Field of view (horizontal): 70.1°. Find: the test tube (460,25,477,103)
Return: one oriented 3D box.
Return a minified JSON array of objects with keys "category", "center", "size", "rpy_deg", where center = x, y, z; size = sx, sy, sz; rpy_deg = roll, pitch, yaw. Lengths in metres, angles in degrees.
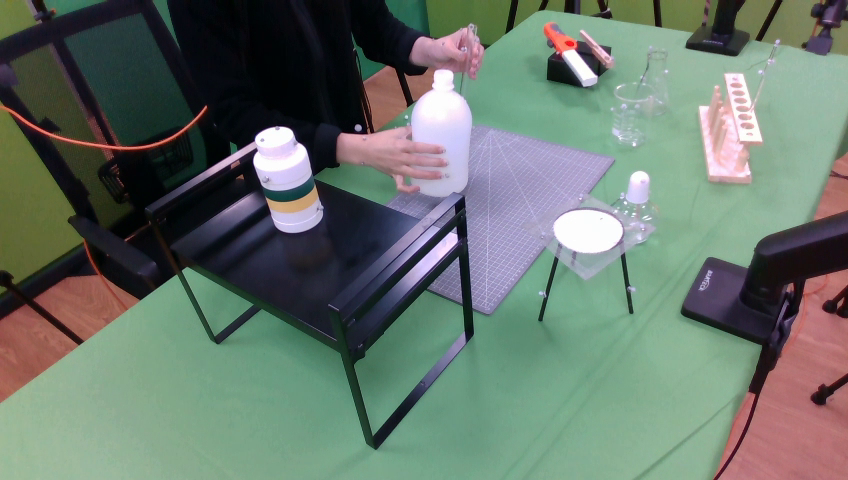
[{"category":"test tube","center":[0.074,-0.294,1.034],"size":[0.017,0.150,0.017],"rpy_deg":[3,44,-2]}]

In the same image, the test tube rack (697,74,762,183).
[{"category":"test tube rack","center":[0.547,-0.208,1.095],"size":[0.066,0.085,0.242],"rpy_deg":[5,42,15]}]

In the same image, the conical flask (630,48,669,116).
[{"category":"conical flask","center":[0.457,-0.317,1.205],"size":[0.075,0.122,0.075],"rpy_deg":[-4,41,4]}]

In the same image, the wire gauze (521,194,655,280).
[{"category":"wire gauze","center":[0.207,-0.012,0.772],"size":[0.122,0.011,0.124],"rpy_deg":[-28,44,-20]}]

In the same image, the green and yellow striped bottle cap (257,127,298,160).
[{"category":"green and yellow striped bottle cap","center":[-0.169,-0.112,0.698],"size":[0.045,0.020,0.045],"rpy_deg":[-5,40,4]}]

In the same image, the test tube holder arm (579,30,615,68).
[{"category":"test tube holder arm","center":[0.384,-0.428,1.351],"size":[0.013,0.015,0.177],"rpy_deg":[-12,41,-3]}]

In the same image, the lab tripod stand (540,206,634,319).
[{"category":"lab tripod stand","center":[0.217,0.034,0.821],"size":[0.148,0.132,0.147],"rpy_deg":[-4,42,4]}]

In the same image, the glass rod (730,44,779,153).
[{"category":"glass rod","center":[0.556,-0.234,1.021],"size":[0.008,0.200,0.008],"rpy_deg":[2,40,-1]}]

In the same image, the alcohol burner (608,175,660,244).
[{"category":"alcohol burner","center":[0.322,-0.053,0.924],"size":[0.078,0.119,0.077],"rpy_deg":[-4,43,4]}]

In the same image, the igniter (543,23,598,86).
[{"category":"igniter","center":[0.320,-0.419,1.345],"size":[0.057,0.025,0.274],"rpy_deg":[-12,44,-3]}]

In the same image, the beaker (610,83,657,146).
[{"category":"beaker","center":[0.388,-0.235,1.138],"size":[0.074,0.101,0.083],"rpy_deg":[-31,45,-25]}]

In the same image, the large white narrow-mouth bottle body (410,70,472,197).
[{"category":"large white narrow-mouth bottle body","center":[0.028,-0.175,0.976],"size":[0.102,0.195,0.101],"rpy_deg":[1,30,0]}]

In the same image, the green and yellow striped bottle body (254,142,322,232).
[{"category":"green and yellow striped bottle body","center":[-0.165,-0.073,0.732],"size":[0.063,0.120,0.063],"rpy_deg":[-4,41,4]}]

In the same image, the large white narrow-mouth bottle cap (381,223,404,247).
[{"category":"large white narrow-mouth bottle cap","center":[-0.052,-0.009,0.992],"size":[0.038,0.024,0.037],"rpy_deg":[-5,39,4]}]

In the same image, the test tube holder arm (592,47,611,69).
[{"category":"test tube holder arm","center":[0.385,-0.398,1.317],"size":[0.010,0.015,0.087],"rpy_deg":[-11,41,-2]}]

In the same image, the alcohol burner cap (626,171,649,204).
[{"category":"alcohol burner cap","center":[0.320,-0.081,0.900],"size":[0.034,0.048,0.033],"rpy_deg":[-4,42,4]}]
